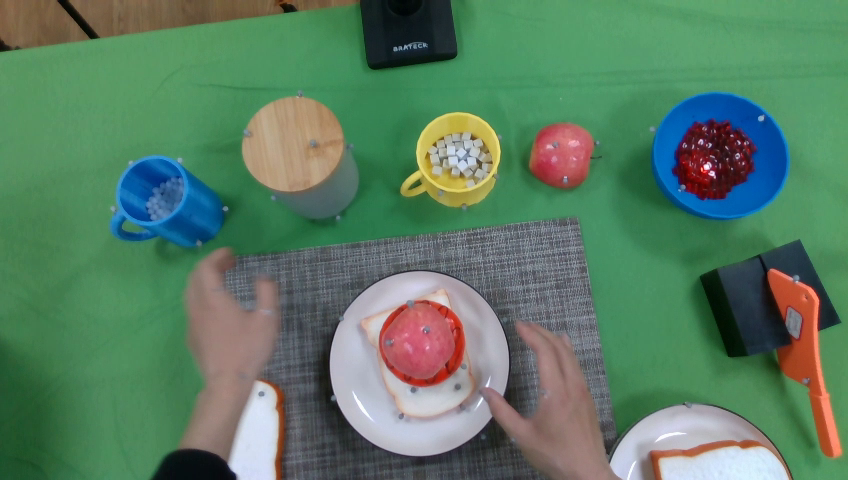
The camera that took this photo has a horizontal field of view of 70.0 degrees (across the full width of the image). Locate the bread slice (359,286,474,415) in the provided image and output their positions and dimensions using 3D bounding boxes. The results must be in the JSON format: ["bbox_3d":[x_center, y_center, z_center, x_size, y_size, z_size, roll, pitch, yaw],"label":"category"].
[{"bbox_3d":[-0.001,0.131,0.699,0.107,0.018,0.133,-24,79,-1],"label":"bread slice"}]

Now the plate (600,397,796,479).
[{"bbox_3d":[0.294,0.277,0.659,0.209,0.038,0.208,-1,78,3],"label":"plate"}]

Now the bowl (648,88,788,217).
[{"bbox_3d":[0.332,-0.093,0.715,0.151,0.077,0.150,-1,78,3],"label":"bowl"}]

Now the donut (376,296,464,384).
[{"bbox_3d":[-0.004,0.111,0.675,0.099,0.048,0.098,0,78,2],"label":"donut"}]

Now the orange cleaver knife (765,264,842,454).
[{"bbox_3d":[0.413,0.129,0.662,0.012,0.077,0.212,-18,99,-8],"label":"orange cleaver knife"}]

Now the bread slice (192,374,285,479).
[{"bbox_3d":[-0.214,0.223,0.701,0.105,0.019,0.131,0,79,2],"label":"bread slice"}]

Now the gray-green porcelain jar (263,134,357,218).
[{"bbox_3d":[-0.136,-0.087,0.711,0.106,0.127,0.105,-1,78,3],"label":"gray-green porcelain jar"}]

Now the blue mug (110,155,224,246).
[{"bbox_3d":[-0.311,-0.035,0.718,0.116,0.106,0.082,-33,78,-4],"label":"blue mug"}]

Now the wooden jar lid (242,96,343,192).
[{"bbox_3d":[-0.140,-0.101,0.650,0.108,0.021,0.108,-1,76,3],"label":"wooden jar lid"}]

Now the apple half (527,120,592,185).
[{"bbox_3d":[0.167,-0.113,0.740,0.074,0.053,0.080,15,79,8],"label":"apple half"}]

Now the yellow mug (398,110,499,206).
[{"bbox_3d":[0.026,-0.091,0.735,0.131,0.064,0.099,-30,78,-3],"label":"yellow mug"}]

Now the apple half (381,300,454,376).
[{"bbox_3d":[-0.007,0.105,0.641,0.081,0.033,0.081,-1,81,9],"label":"apple half"}]

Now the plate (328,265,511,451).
[{"bbox_3d":[-0.005,0.134,0.700,0.207,0.039,0.206,-1,78,3],"label":"plate"}]
